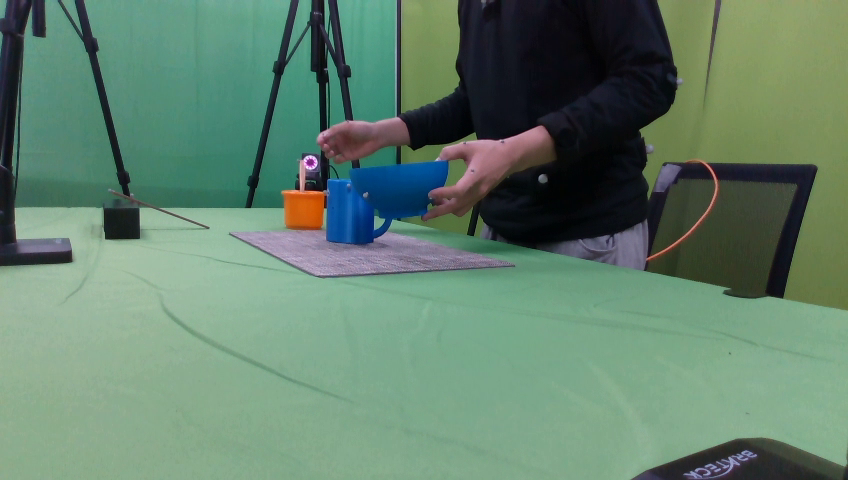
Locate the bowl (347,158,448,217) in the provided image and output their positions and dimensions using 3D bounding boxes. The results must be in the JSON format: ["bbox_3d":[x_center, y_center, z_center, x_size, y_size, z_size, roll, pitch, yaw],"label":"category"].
[{"bbox_3d":[-0.036,-0.077,0.900,0.151,0.077,0.151,-5,7,1],"label":"bowl"}]

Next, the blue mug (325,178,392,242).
[{"bbox_3d":[-0.111,-0.052,1.034,0.116,0.106,0.082,3,7,7],"label":"blue mug"}]

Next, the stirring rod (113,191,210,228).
[{"bbox_3d":[-0.484,-0.055,1.121,0.177,0.006,0.014,22,-6,-22],"label":"stirring rod"}]

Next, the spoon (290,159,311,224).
[{"bbox_3d":[-0.257,-0.104,1.265,0.042,0.193,0.021,2,-38,-11],"label":"spoon"}]
